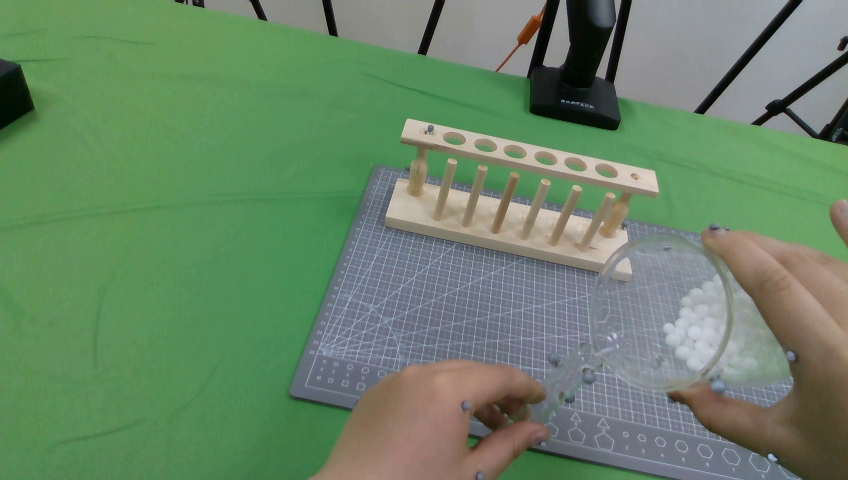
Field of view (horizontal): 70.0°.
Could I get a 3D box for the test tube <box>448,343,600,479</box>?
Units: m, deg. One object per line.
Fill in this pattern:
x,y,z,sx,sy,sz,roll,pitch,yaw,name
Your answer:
0.053,0.108,0.355,0.017,0.151,0.017,20,39,-16,test tube

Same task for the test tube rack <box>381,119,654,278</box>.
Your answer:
0.088,-0.039,0.584,0.242,0.086,0.066,12,42,0,test tube rack

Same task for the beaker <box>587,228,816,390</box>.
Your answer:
0.144,0.041,0.313,0.101,0.084,0.073,10,50,-35,beaker
